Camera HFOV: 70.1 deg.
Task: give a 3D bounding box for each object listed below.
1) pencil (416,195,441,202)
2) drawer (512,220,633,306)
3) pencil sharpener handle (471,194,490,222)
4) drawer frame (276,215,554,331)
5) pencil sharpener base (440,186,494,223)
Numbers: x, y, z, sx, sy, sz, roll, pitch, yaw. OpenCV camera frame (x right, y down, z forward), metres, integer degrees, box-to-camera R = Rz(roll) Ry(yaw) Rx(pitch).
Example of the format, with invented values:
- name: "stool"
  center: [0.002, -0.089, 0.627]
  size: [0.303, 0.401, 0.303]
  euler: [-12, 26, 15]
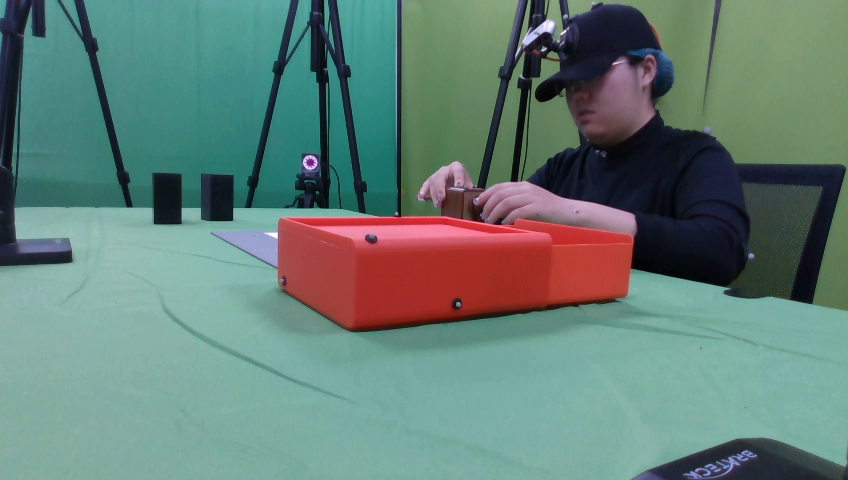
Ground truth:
- name: "pencil"
  center: [0.036, -0.070, 1.057]
  size: [0.012, 0.012, 0.193]
  euler: [-1, 7, -30]
- name: "drawer"
  center: [0.085, 0.021, 0.674]
  size: [0.213, 0.073, 0.193]
  euler: [-2, 9, -32]
- name: "pencil sharpener handle"
  center: [0.094, -0.037, 0.942]
  size: [0.036, 0.067, 0.030]
  euler: [-1, 9, -29]
- name: "drawer frame"
  center: [-0.015, 0.022, 0.610]
  size: [0.215, 0.082, 0.200]
  euler: [-2, 9, -32]
- name: "pencil sharpener base"
  center: [0.070, -0.032, 0.988]
  size: [0.061, 0.107, 0.076]
  euler: [-1, 9, -29]
